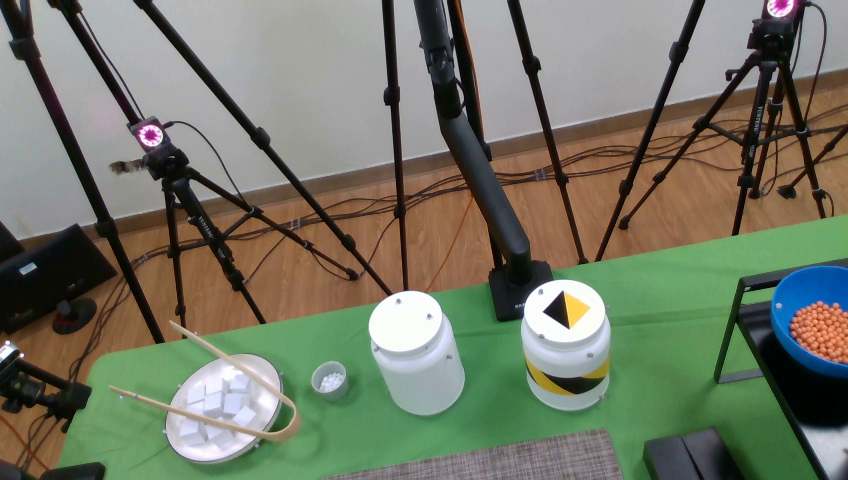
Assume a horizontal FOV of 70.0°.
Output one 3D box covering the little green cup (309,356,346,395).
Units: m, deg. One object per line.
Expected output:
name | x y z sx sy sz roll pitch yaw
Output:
little green cup | -0.166 0.238 1.058 0.061 0.039 0.061 -6 47 7

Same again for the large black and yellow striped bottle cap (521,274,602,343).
large black and yellow striped bottle cap | 0.199 0.097 0.879 0.115 0.019 0.114 -6 46 7

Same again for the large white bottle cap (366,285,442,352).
large white bottle cap | -0.031 0.117 0.916 0.115 0.018 0.113 -7 46 8

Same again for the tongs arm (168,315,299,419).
tongs arm | -0.349 0.216 1.084 0.384 0.028 0.028 22 50 33

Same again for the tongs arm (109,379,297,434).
tongs arm | -0.389 0.273 1.038 0.382 0.027 0.050 9 47 25

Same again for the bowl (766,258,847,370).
bowl | 0.493 0.103 0.738 0.151 0.077 0.150 -7 47 7

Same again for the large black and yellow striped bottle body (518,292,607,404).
large black and yellow striped bottle body | 0.215 0.155 0.938 0.130 0.186 0.129 -7 46 8

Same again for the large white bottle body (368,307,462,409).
large white bottle body | -0.015 0.174 0.977 0.130 0.186 0.129 -7 46 8

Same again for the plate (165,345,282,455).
plate | -0.346 0.282 1.064 0.207 0.039 0.205 -7 46 8
